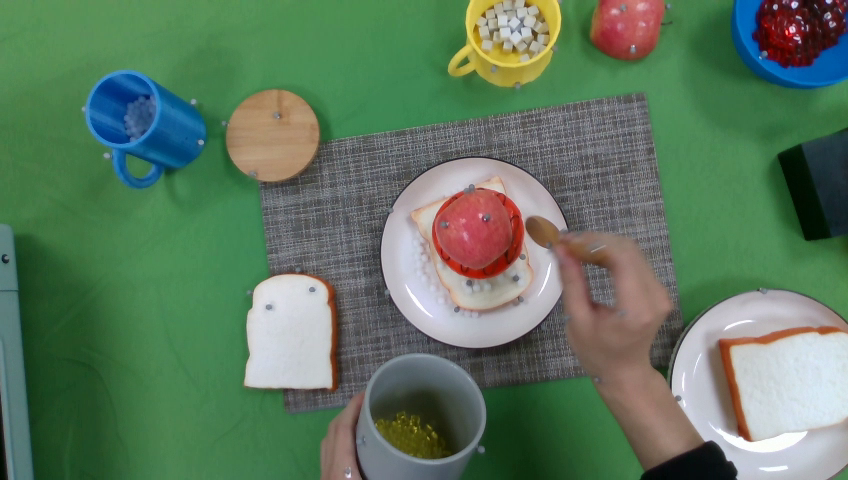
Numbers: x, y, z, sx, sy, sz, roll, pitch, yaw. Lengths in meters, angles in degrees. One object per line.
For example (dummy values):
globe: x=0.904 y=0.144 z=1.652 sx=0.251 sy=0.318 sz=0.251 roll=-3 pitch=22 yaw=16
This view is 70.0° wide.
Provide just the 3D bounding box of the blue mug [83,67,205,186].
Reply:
blue mug: x=-0.307 y=-0.116 z=0.667 sx=0.082 sy=0.106 sz=0.116 roll=13 pitch=88 yaw=5

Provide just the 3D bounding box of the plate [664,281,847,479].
plate: x=0.356 y=0.147 z=0.635 sx=0.209 sy=0.038 sz=0.208 roll=0 pitch=87 yaw=5

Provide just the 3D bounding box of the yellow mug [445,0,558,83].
yellow mug: x=0.079 y=-0.222 z=0.663 sx=0.131 sy=0.064 sz=0.099 roll=-32 pitch=85 yaw=3

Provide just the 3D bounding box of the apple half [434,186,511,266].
apple half: x=0.048 y=-0.015 z=0.600 sx=0.081 sy=0.033 sz=0.081 roll=-1 pitch=85 yaw=12

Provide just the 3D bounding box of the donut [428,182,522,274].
donut: x=0.054 y=-0.012 z=0.636 sx=0.099 sy=0.048 sz=0.099 roll=0 pitch=88 yaw=5

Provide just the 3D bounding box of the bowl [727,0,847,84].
bowl: x=0.385 y=-0.228 z=0.633 sx=0.151 sy=0.077 sz=0.151 roll=0 pitch=87 yaw=5

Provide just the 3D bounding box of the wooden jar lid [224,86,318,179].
wooden jar lid: x=-0.174 y=-0.121 z=0.697 sx=0.108 sy=0.021 sz=0.108 roll=-1 pitch=84 yaw=6

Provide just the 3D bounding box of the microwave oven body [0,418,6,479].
microwave oven body: x=-0.622 y=0.203 z=0.593 sx=0.326 sy=0.260 sz=0.441 roll=-8 pitch=87 yaw=4

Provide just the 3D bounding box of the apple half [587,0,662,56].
apple half: x=0.220 y=-0.248 z=0.660 sx=0.074 sy=0.053 sz=0.080 roll=15 pitch=89 yaw=8

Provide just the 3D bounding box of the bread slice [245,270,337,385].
bread slice: x=-0.152 y=0.099 z=0.685 sx=0.105 sy=0.019 sz=0.131 roll=-1 pitch=88 yaw=4

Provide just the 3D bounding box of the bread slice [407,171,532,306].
bread slice: x=0.058 y=0.004 z=0.663 sx=0.107 sy=0.018 sz=0.134 roll=-25 pitch=87 yaw=3

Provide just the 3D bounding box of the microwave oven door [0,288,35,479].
microwave oven door: x=-0.474 y=0.224 z=0.575 sx=0.039 sy=0.244 sz=0.355 roll=-8 pitch=86 yaw=4

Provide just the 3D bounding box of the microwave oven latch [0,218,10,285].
microwave oven latch: x=-0.492 y=0.013 z=0.689 sx=0.030 sy=0.029 sz=0.079 roll=-3 pitch=87 yaw=4

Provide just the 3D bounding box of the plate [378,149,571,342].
plate: x=0.054 y=0.006 z=0.663 sx=0.207 sy=0.039 sz=0.207 roll=0 pitch=87 yaw=5

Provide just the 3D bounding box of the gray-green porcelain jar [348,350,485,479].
gray-green porcelain jar: x=-0.012 y=0.179 z=0.551 sx=0.106 sy=0.127 sz=0.105 roll=9 pitch=43 yaw=-9

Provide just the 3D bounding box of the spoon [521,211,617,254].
spoon: x=0.114 y=-0.002 z=0.493 sx=0.021 sy=0.193 sz=0.042 roll=-39 pitch=98 yaw=2
